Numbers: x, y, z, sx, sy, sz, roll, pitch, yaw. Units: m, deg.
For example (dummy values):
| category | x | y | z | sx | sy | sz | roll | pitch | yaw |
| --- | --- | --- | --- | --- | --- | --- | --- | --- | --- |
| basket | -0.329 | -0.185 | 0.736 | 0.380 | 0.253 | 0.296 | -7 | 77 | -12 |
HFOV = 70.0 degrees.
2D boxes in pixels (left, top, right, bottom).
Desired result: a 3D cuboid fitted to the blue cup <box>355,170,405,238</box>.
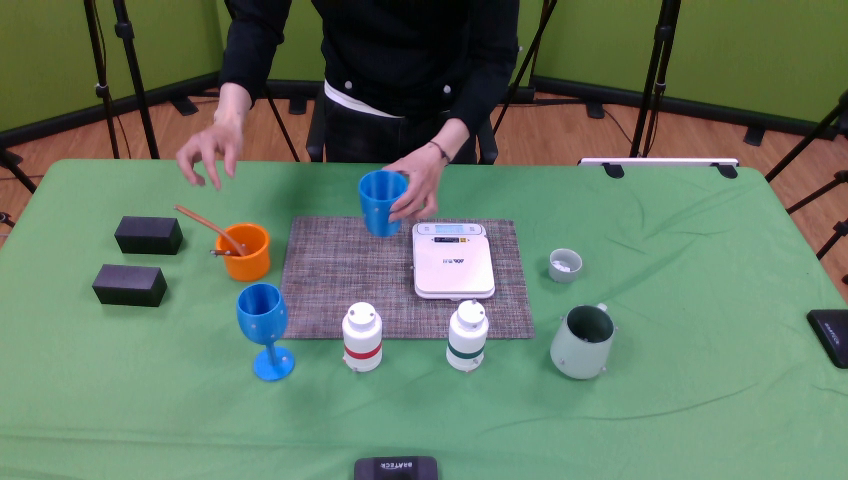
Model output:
| category | x | y | z | sx | sy | sz | roll | pitch | yaw |
| --- | --- | --- | --- | --- | --- | --- | --- | --- | --- |
| blue cup | -0.078 | -0.059 | 1.078 | 0.093 | 0.101 | 0.092 | 2 | 45 | -2 |

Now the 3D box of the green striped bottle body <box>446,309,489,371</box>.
| category | x | y | z | sx | sy | sz | roll | pitch | yaw |
| --- | --- | --- | --- | --- | --- | --- | --- | --- | --- |
| green striped bottle body | 0.070 | 0.155 | 0.984 | 0.063 | 0.120 | 0.063 | 2 | 46 | -2 |

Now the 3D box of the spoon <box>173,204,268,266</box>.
| category | x | y | z | sx | sy | sz | roll | pitch | yaw |
| --- | --- | --- | --- | --- | --- | --- | --- | --- | --- |
| spoon | -0.362 | -0.009 | 1.089 | 0.021 | 0.195 | 0.041 | -41 | 29 | 13 |

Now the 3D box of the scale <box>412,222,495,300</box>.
| category | x | y | z | sx | sy | sz | roll | pitch | yaw |
| --- | --- | --- | --- | --- | --- | --- | --- | --- | --- |
| scale | 0.053 | 0.031 | 1.158 | 0.149 | 0.032 | 0.199 | 1 | 46 | -4 |

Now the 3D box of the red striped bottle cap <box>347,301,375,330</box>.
| category | x | y | z | sx | sy | sz | roll | pitch | yaw |
| --- | --- | --- | --- | --- | --- | --- | --- | --- | --- |
| red striped bottle cap | -0.097 | 0.116 | 0.934 | 0.044 | 0.018 | 0.044 | 2 | 49 | -3 |

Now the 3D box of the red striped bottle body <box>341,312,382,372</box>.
| category | x | y | z | sx | sy | sz | roll | pitch | yaw |
| --- | --- | --- | --- | --- | --- | --- | --- | --- | --- |
| red striped bottle body | -0.100 | 0.154 | 0.972 | 0.063 | 0.120 | 0.062 | 2 | 46 | -1 |

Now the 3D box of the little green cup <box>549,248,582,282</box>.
| category | x | y | z | sx | sy | sz | roll | pitch | yaw |
| --- | --- | --- | --- | --- | --- | --- | --- | --- | --- |
| little green cup | 0.268 | 0.050 | 1.156 | 0.061 | 0.039 | 0.061 | 1 | 45 | -1 |

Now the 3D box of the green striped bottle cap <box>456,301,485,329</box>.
| category | x | y | z | sx | sy | sz | roll | pitch | yaw |
| --- | --- | --- | --- | --- | --- | --- | --- | --- | --- |
| green striped bottle cap | 0.073 | 0.116 | 0.943 | 0.044 | 0.020 | 0.044 | 3 | 46 | -3 |

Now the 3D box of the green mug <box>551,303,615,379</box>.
| category | x | y | z | sx | sy | sz | roll | pitch | yaw |
| --- | --- | --- | --- | --- | --- | --- | --- | --- | --- |
| green mug | 0.271 | 0.158 | 1.007 | 0.092 | 0.105 | 0.125 | 27 | 50 | 21 |

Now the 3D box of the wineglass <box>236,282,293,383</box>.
| category | x | y | z | sx | sy | sz | roll | pitch | yaw |
| --- | --- | --- | --- | --- | --- | --- | --- | --- | --- |
| wineglass | -0.243 | 0.143 | 0.934 | 0.074 | 0.173 | 0.073 | 2 | 46 | -2 |

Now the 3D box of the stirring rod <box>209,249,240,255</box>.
| category | x | y | z | sx | sy | sz | roll | pitch | yaw |
| --- | --- | --- | --- | --- | --- | --- | --- | --- | --- |
| stirring rod | -0.343 | 0.022 | 1.060 | 0.014 | 0.176 | 0.006 | 24 | 88 | -2 |
